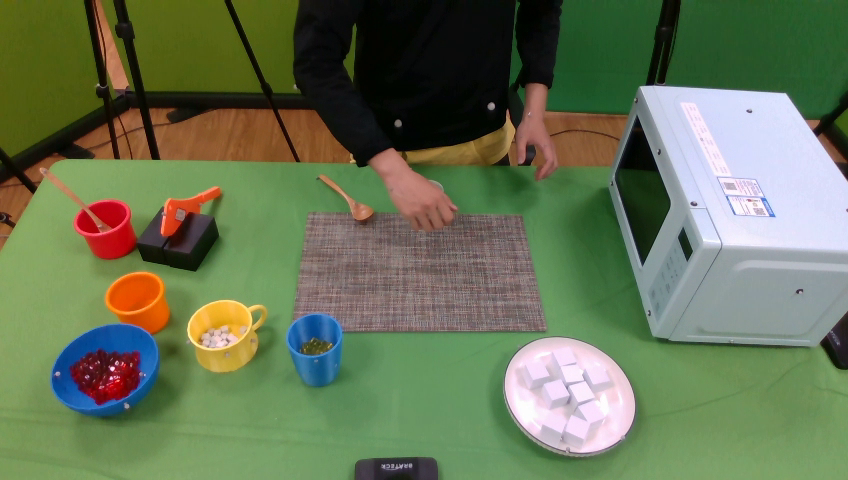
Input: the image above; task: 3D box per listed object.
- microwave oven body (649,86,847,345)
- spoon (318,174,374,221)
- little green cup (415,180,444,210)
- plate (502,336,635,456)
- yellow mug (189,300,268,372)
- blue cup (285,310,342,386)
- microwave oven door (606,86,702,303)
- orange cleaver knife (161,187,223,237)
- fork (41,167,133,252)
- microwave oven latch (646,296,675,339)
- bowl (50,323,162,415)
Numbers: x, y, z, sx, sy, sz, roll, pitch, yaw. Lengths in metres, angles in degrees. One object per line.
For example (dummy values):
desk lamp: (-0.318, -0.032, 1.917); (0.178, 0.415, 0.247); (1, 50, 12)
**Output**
microwave oven body: (0.568, -0.053, 1.118); (0.326, 0.261, 0.439); (2, 45, -1)
spoon: (-0.168, -0.095, 1.274); (0.041, 0.022, 0.192); (-38, 56, -15)
little green cup: (0.011, -0.094, 1.277); (0.061, 0.039, 0.061); (2, 49, -2)
plate: (0.225, 0.248, 0.963); (0.208, 0.039, 0.206); (2, 46, -2)
yellow mug: (-0.316, 0.149, 1.002); (0.131, 0.064, 0.099); (-32, 56, -31)
blue cup: (-0.170, 0.179, 0.958); (0.093, 0.101, 0.092); (2, 44, -1)
microwave oven door: (0.423, -0.094, 1.141); (0.039, 0.245, 0.353); (3, 46, -1)
orange cleaver knife: (-0.448, -0.058, 1.181); (0.012, 0.077, 0.211); (13, 17, 6)
fork: (-0.624, -0.056, 1.121); (0.208, 0.018, 0.028); (49, 51, -15)
microwave oven latch: (0.412, 0.134, 1.061); (0.030, 0.029, 0.078); (4, 45, 1)
bowl: (-0.472, 0.209, 0.924); (0.151, 0.077, 0.150); (3, 45, -2)
